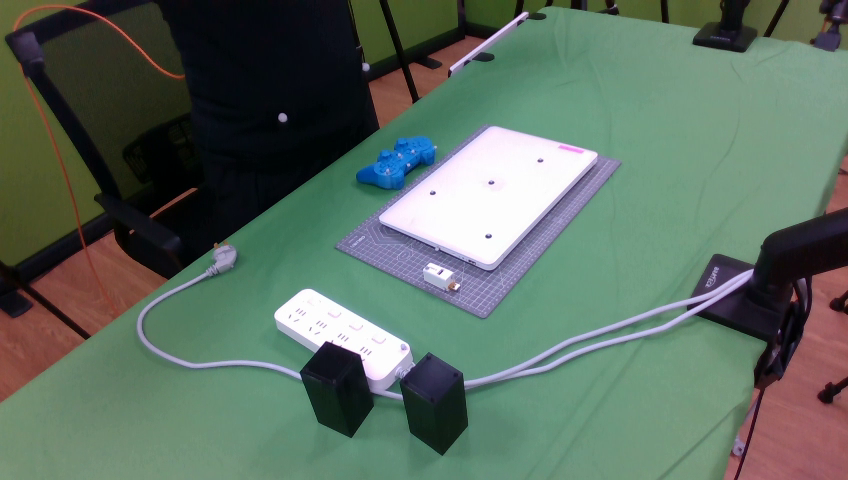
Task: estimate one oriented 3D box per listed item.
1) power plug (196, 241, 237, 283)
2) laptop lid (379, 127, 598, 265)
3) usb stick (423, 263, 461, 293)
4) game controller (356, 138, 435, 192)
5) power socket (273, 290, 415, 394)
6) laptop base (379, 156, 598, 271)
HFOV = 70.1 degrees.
[{"bbox_3d":[-0.336,0.031,0.968,0.073,0.035,0.052,-18,58,-30],"label":"power plug"},{"bbox_3d":[0.117,-0.095,1.048,0.239,0.013,0.358,23,49,34],"label":"laptop lid"},{"bbox_3d":[0.028,0.058,0.889,0.059,0.027,0.021,24,47,29],"label":"usb stick"},{"bbox_3d":[-0.049,-0.150,1.136,0.096,0.052,0.155,27,51,28],"label":"game controller"},{"bbox_3d":[-0.114,0.133,0.820,0.225,0.033,0.072,24,48,32],"label":"power socket"},{"bbox_3d":[0.120,-0.085,1.054,0.233,0.023,0.355,21,48,34],"label":"laptop base"}]
